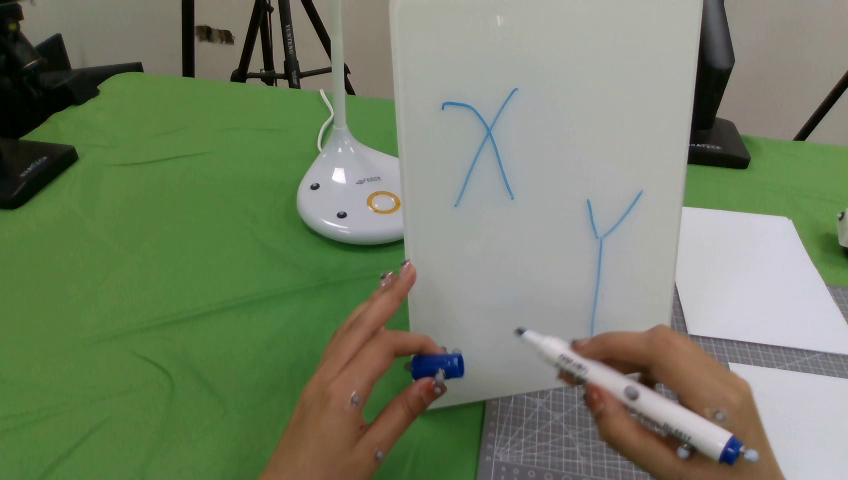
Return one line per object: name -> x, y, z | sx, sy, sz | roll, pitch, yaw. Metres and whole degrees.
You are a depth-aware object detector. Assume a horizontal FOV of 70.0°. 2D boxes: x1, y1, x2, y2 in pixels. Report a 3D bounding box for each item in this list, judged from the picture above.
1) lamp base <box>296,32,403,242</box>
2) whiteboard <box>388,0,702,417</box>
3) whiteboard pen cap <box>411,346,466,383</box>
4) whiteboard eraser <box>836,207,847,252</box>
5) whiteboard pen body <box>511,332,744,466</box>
lamp base -> -0.069, -0.116, 0.642 | 0.161, 0.182, 0.177 | -25, 43, -30
whiteboard -> 0.079, -0.040, 0.500 | 0.218, 0.307, 0.142 | -6, 20, -9
whiteboard pen cap -> 0.010, 0.078, 0.382 | 0.033, 0.018, 0.018 | 14, 39, 6
whiteboard eraser -> 0.497, 0.004, 0.633 | 0.112, 0.042, 0.055 | 18, 43, 19
whiteboard pen body -> 0.104, 0.082, 0.338 | 0.017, 0.017, 0.139 | -31, 40, -35
